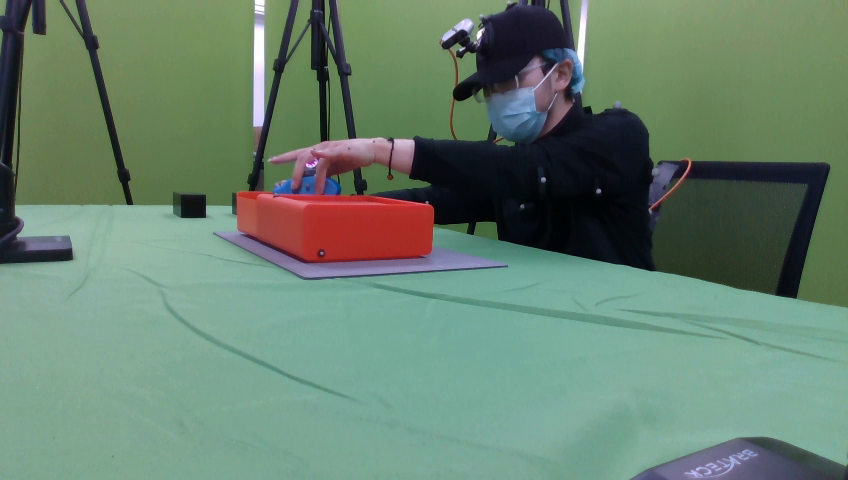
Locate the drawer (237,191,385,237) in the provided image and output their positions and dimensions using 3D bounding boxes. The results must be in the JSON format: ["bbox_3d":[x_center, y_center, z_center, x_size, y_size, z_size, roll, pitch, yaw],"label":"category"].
[{"bbox_3d":[-0.186,-0.040,1.006,0.195,0.073,0.210,-1,7,-32],"label":"drawer"}]

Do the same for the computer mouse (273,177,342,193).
[{"bbox_3d":[-0.201,-0.087,1.042,0.117,0.041,0.062,-5,6,-4],"label":"computer mouse"}]

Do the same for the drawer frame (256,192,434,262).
[{"bbox_3d":[-0.125,-0.026,0.910,0.203,0.082,0.212,-1,9,-32],"label":"drawer frame"}]
